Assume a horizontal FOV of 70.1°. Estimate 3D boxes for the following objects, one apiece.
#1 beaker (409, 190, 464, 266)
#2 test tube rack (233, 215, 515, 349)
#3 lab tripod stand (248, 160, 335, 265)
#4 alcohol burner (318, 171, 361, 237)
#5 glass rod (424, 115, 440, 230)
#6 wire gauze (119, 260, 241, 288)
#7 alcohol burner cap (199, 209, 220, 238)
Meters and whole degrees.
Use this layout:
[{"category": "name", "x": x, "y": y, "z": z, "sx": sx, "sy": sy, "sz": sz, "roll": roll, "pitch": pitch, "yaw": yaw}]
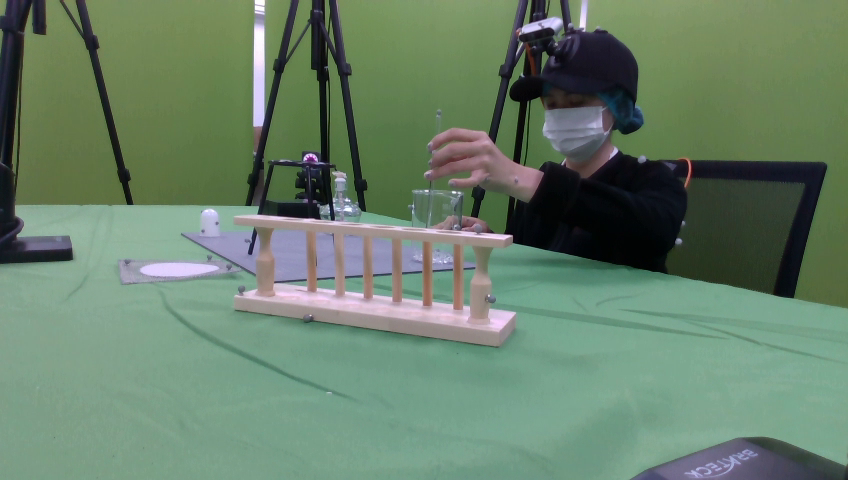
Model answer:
[{"category": "beaker", "x": 0.018, "y": -0.017, "z": 0.840, "sx": 0.074, "sy": 0.100, "sz": 0.083, "roll": -3, "pitch": 10, "yaw": -35}, {"category": "test tube rack", "x": -0.045, "y": 0.029, "z": 0.526, "sx": 0.241, "sy": 0.085, "sz": 0.067, "roll": 5, "pitch": 7, "yaw": 19}, {"category": "lab tripod stand", "x": -0.165, "y": -0.041, "z": 0.817, "sx": 0.148, "sy": 0.131, "sz": 0.148, "roll": 5, "pitch": 7, "yaw": 0}, {"category": "alcohol burner", "x": -0.155, "y": -0.066, "z": 1.104, "sx": 0.078, "sy": 0.119, "sz": 0.078, "roll": 1, "pitch": 8, "yaw": 0}, {"category": "glass rod", "x": 0.009, "y": -0.071, "z": 0.831, "sx": 0.008, "sy": 0.199, "sz": 0.008, "roll": 6, "pitch": 15, "yaw": -1}, {"category": "wire gauze", "x": -0.288, "y": 0.034, "z": 0.706, "sx": 0.122, "sy": 0.011, "sz": 0.124, "roll": -3, "pitch": 10, "yaw": -29}, {"category": "alcohol burner cap", "x": -0.356, "y": -0.027, "z": 1.002, "sx": 0.034, "sy": 0.048, "sz": 0.034, "roll": 2, "pitch": 7, "yaw": 0}]
